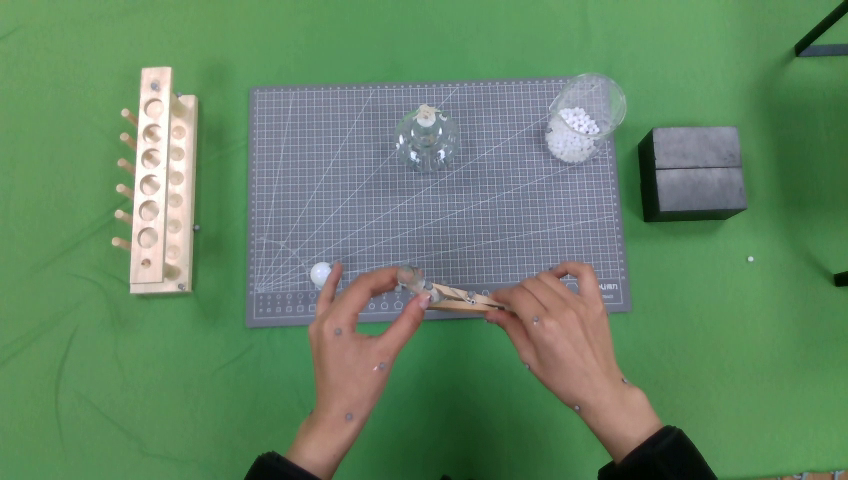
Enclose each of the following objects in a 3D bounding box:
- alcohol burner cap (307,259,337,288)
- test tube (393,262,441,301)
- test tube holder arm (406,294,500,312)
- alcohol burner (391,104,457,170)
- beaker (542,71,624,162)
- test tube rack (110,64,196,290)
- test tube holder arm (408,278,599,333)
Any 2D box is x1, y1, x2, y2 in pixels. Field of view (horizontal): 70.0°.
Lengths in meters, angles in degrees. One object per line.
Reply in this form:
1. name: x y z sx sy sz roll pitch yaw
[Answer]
1. alcohol burner cap: -0.119 0.037 0.693 0.034 0.048 0.033 0 79 -2
2. test tube: -0.003 0.040 0.522 0.017 0.151 0.017 -2 77 10
3. test tube holder arm: 0.027 0.059 0.565 0.088 0.015 0.010 3 75 5
4. alcohol burner: 0.000 -0.124 0.690 0.078 0.119 0.077 0 79 1
5. beaker: 0.177 -0.138 0.703 0.084 0.100 0.073 -4 78 0
6. test tube rack: -0.312 -0.069 0.692 0.067 0.085 0.241 -2 79 -1
7. test tube holder arm: 0.072 0.060 0.561 0.178 0.015 0.013 12 77 7
